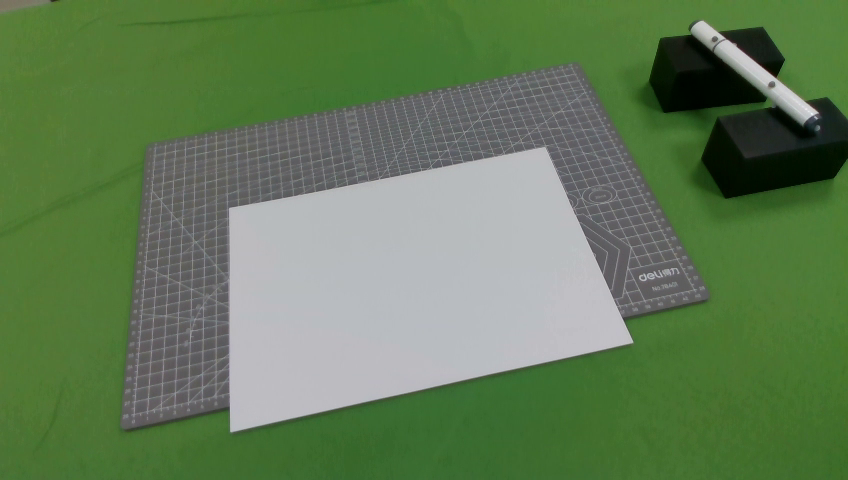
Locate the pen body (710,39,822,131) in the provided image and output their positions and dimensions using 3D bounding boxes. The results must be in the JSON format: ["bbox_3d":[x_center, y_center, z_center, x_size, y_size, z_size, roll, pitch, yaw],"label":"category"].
[{"bbox_3d":[0.285,-0.144,0.527,0.017,0.017,0.142,-22,56,-10],"label":"pen body"}]

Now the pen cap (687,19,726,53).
[{"bbox_3d":[0.261,-0.189,0.562,0.017,0.017,0.038,-22,56,-10],"label":"pen cap"}]
